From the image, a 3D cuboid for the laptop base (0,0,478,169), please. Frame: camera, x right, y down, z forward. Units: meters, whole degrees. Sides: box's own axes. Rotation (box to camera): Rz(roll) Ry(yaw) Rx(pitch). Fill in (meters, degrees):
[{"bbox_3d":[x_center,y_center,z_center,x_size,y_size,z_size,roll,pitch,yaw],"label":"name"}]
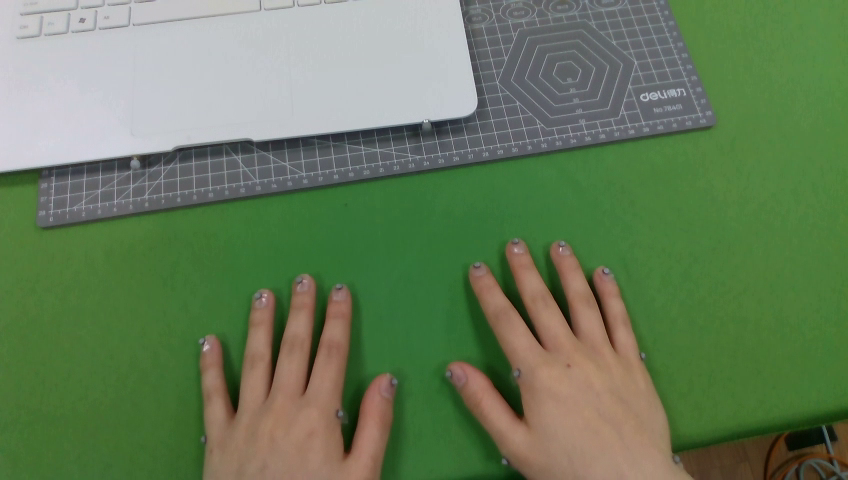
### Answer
[{"bbox_3d":[-0.152,-0.169,0.440,0.354,0.023,0.234,-7,71,-3],"label":"laptop base"}]
